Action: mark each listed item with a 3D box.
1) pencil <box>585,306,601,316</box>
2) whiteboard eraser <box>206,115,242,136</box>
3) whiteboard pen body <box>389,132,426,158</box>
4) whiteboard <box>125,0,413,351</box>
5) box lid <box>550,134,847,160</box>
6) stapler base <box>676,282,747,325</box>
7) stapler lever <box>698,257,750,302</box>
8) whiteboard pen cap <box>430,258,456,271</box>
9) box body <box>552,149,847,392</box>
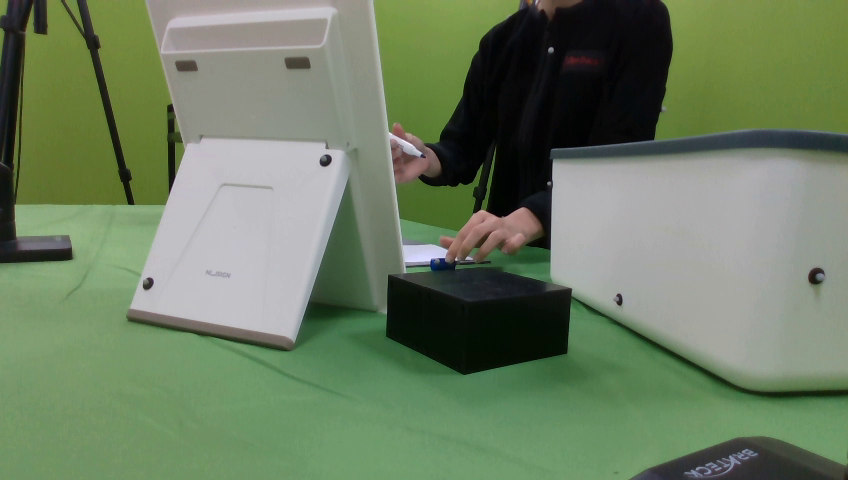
[{"bbox_3d":[0.250,0.055,0.656,0.195,0.012,0.012,-12,13,-27],"label":"pencil"},{"bbox_3d":[-0.438,-0.249,1.320,0.056,0.042,0.112,-3,9,-30],"label":"whiteboard eraser"},{"bbox_3d":[-0.053,-0.153,0.906,0.140,0.017,0.017,31,19,23],"label":"whiteboard pen body"},{"bbox_3d":[-0.151,-0.050,0.471,0.216,0.305,0.144,6,27,24],"label":"whiteboard"},{"bbox_3d":[0.294,-0.071,0.538,0.264,0.015,0.370,2,6,-10],"label":"box lid"},{"bbox_3d":[0.283,0.057,0.585,0.041,0.024,0.131,31,19,33],"label":"stapler base"},{"bbox_3d":[0.291,0.035,0.580,0.026,0.040,0.119,31,20,33],"label":"stapler lever"},{"bbox_3d":[0.024,0.032,0.790,0.033,0.018,0.018,1,8,-12],"label":"whiteboard pen cap"},{"bbox_3d":[0.290,0.002,0.549,0.255,0.160,0.363,2,7,-10],"label":"box body"}]
